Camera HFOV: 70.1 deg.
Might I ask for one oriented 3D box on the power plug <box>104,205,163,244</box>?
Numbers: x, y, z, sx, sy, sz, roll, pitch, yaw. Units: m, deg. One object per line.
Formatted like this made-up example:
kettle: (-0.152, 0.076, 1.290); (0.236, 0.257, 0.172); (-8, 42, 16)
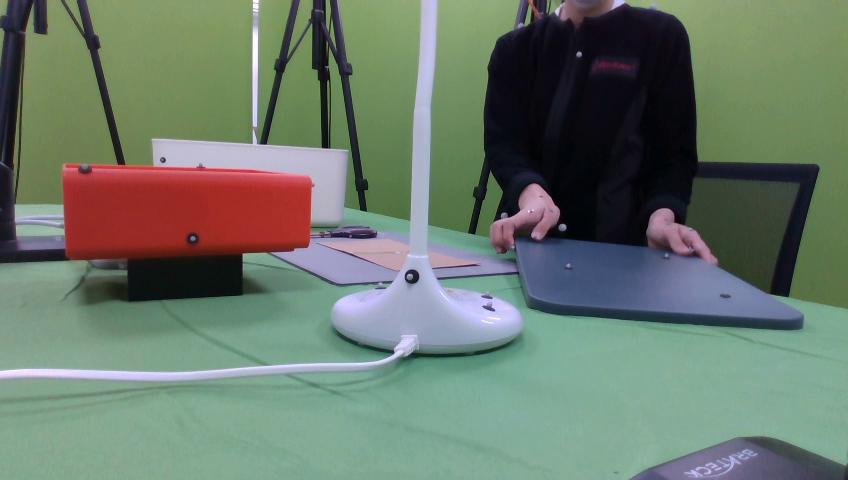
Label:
power plug: (-0.390, -0.021, 0.815); (0.073, 0.052, 0.035); (-1, 7, -27)

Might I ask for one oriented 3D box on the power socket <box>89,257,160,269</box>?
power socket: (-0.409, 0.004, 0.793); (0.072, 0.032, 0.225); (-2, 8, -38)

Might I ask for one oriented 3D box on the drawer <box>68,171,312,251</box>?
drawer: (-0.247, -0.036, 0.629); (0.213, 0.073, 0.193); (-3, 9, -30)

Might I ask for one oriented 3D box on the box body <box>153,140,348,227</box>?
box body: (-0.357, -0.119, 1.264); (0.365, 0.160, 0.253); (0, 7, -18)

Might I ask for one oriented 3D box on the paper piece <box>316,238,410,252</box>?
paper piece: (-0.083, 0.008, 0.952); (0.136, 0.004, 0.134); (-2, 8, -31)

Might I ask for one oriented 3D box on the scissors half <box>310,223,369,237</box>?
scissors half: (-0.172, -0.013, 1.062); (0.176, 0.013, 0.040); (-9, 27, -43)

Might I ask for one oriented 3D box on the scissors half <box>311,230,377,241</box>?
scissors half: (-0.161, -0.005, 1.047); (0.176, 0.013, 0.040); (0, 27, -27)

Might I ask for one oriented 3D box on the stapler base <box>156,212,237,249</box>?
stapler base: (-0.227, -0.017, 0.624); (0.041, 0.024, 0.130); (19, 10, -2)

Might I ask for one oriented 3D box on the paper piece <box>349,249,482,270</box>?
paper piece: (-0.013, 0.026, 0.842); (0.139, 0.008, 0.135); (0, 11, -32)

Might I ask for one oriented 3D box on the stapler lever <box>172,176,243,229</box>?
stapler lever: (-0.217, -0.041, 0.618); (0.027, 0.040, 0.118); (19, 11, -2)

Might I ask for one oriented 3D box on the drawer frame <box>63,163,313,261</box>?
drawer frame: (-0.248, -0.036, 0.626); (0.215, 0.082, 0.200); (-3, 9, -31)

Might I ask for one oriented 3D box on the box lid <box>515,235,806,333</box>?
box lid: (0.250, 0.040, 0.741); (0.263, 0.015, 0.371); (5, 11, 4)

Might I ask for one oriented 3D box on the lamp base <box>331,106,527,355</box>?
lamp base: (0.006, -0.012, 0.478); (0.161, 0.180, 0.179); (2, 10, 2)
